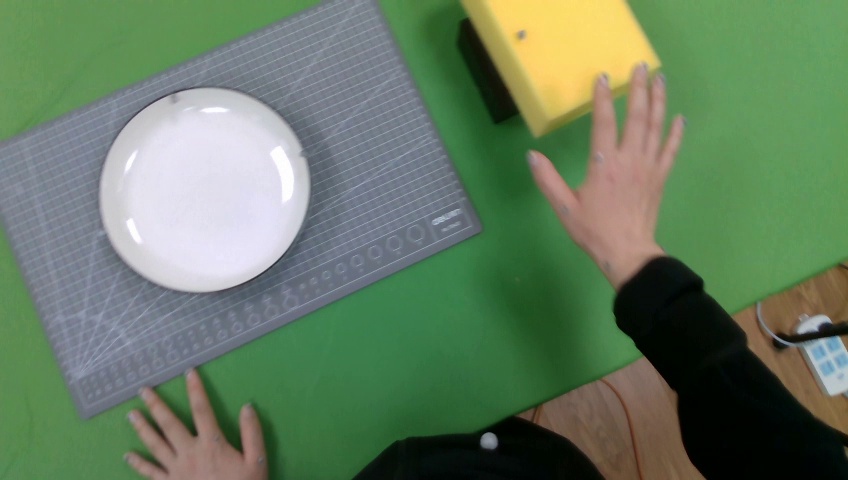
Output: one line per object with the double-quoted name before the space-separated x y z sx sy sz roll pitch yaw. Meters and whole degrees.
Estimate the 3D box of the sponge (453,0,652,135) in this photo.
"sponge" 0.110 -0.222 0.586 0.118 0.061 0.206 -29 86 -5

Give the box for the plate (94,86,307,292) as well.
"plate" -0.221 -0.050 0.616 0.209 0.038 0.208 0 85 -2
